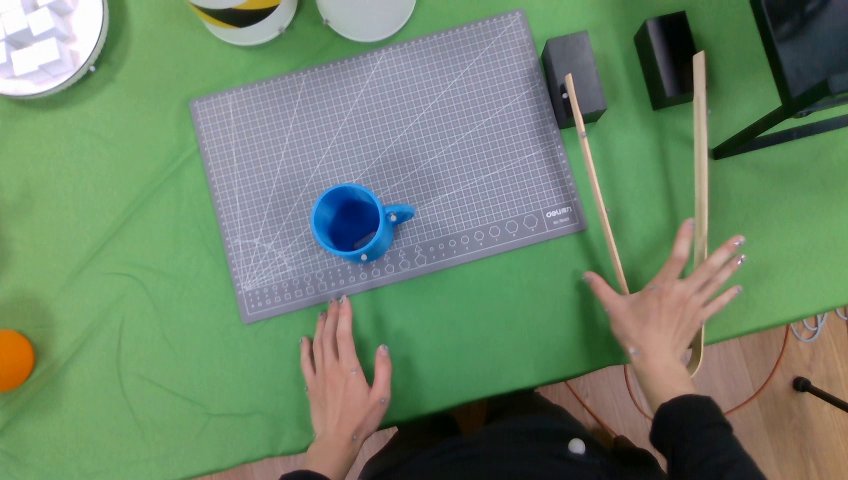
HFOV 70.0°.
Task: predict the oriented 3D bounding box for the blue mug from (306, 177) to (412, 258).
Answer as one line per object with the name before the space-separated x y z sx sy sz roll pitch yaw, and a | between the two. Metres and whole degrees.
blue mug | -0.070 -0.028 0.716 0.116 0.106 0.082 -15 84 0

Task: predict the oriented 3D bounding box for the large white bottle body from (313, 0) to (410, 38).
large white bottle body | -0.085 -0.335 0.706 0.130 0.185 0.130 0 84 2

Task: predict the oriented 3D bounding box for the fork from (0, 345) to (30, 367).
fork | -0.578 0.135 0.697 0.209 0.018 0.028 8 81 -41

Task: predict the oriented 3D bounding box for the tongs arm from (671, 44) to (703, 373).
tongs arm | 0.316 -0.034 0.723 0.028 0.027 0.388 -1 94 -5

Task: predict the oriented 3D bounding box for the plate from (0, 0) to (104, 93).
plate | -0.515 -0.289 0.788 0.207 0.039 0.207 0 85 2

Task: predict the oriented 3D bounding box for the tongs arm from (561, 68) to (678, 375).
tongs arm | 0.234 -0.020 0.724 0.051 0.026 0.385 -15 94 -1

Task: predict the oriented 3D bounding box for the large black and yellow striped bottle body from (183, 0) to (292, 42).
large black and yellow striped bottle body | -0.239 -0.329 0.710 0.131 0.184 0.130 0 84 2

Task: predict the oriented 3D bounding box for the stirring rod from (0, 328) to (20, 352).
stirring rod | -0.545 0.165 0.700 0.014 0.006 0.175 31 44 1
